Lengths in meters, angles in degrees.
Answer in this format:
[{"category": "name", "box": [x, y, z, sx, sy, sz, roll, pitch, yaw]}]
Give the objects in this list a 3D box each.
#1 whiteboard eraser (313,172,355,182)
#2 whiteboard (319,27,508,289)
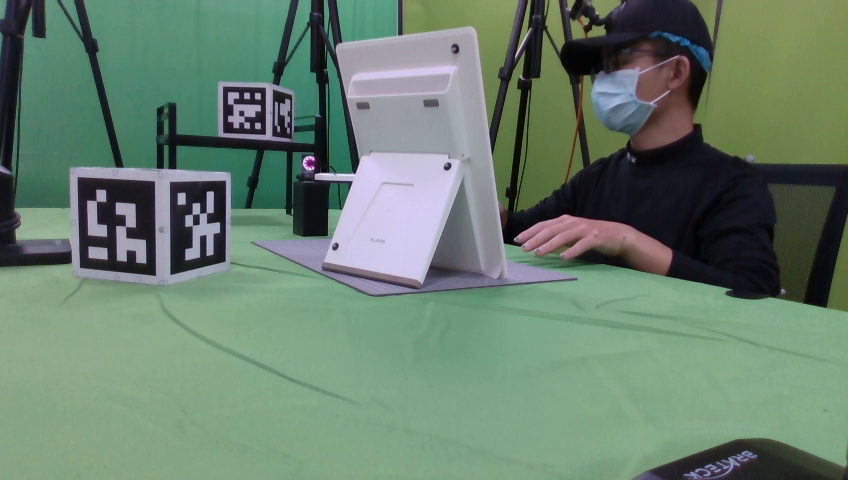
[{"category": "whiteboard eraser", "box": [-0.163, -0.121, 1.158, 0.102, 0.019, 0.041, -1, 6, -33]}, {"category": "whiteboard", "box": [-0.046, -0.076, 0.721, 0.216, 0.305, 0.144, 9, 29, 39]}]
